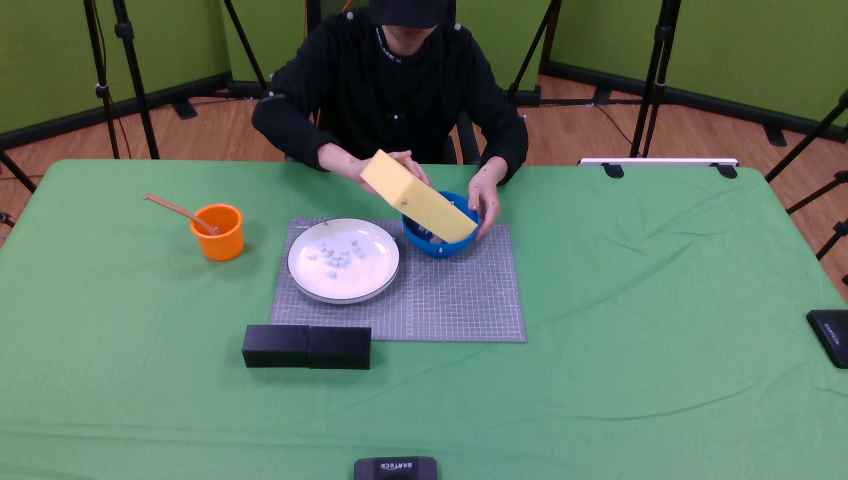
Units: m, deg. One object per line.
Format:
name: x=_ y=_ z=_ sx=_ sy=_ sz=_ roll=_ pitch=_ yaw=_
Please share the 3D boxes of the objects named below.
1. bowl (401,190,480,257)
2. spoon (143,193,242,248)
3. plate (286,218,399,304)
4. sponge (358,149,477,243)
bowl: x=0.028 y=-0.019 z=1.175 sx=0.151 sy=0.077 sz=0.150 roll=5 pitch=47 yaw=-5
spoon: x=-0.421 y=-0.037 z=1.113 sx=0.021 sy=0.195 sz=0.041 roll=-37 pitch=37 yaw=23
plate: x=-0.150 y=0.041 z=1.131 sx=0.209 sy=0.038 sz=0.208 roll=2 pitch=45 yaw=-2
sponge: x=-0.009 y=-0.071 z=1.089 sx=0.061 sy=0.208 sz=0.117 roll=-52 pitch=48 yaw=6
